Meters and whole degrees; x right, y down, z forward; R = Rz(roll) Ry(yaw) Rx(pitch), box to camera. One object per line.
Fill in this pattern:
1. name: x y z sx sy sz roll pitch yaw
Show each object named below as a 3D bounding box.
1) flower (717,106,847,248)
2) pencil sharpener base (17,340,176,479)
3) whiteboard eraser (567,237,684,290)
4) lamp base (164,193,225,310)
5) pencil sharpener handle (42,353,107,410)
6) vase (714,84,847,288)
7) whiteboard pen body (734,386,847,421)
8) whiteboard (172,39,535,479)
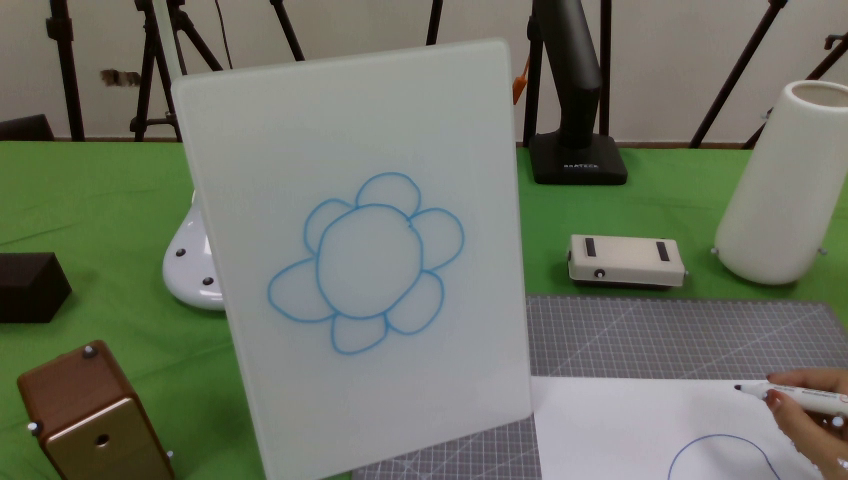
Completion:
1. flower: 0.371 -0.105 0.541 0.044 0.364 0.038 -14 57 -26
2. pencil sharpener base: -0.235 0.138 0.440 0.061 0.108 0.076 -28 45 -30
3. whiteboard eraser: 0.209 0.026 0.637 0.112 0.042 0.055 2 36 5
4. lamp base: -0.209 -0.047 0.623 0.177 0.182 0.160 29 46 36
5. pencil sharpener handle: -0.267 0.104 0.464 0.036 0.068 0.030 -34 47 -25
6. vase: 0.363 -0.048 0.602 0.098 0.202 0.097 0 37 0
7. whiteboard pen body: 0.277 0.114 0.416 0.017 0.017 0.140 -23 6 -26
8. whiteboard: -0.046 0.010 0.490 0.218 0.307 0.142 -11 19 -12
